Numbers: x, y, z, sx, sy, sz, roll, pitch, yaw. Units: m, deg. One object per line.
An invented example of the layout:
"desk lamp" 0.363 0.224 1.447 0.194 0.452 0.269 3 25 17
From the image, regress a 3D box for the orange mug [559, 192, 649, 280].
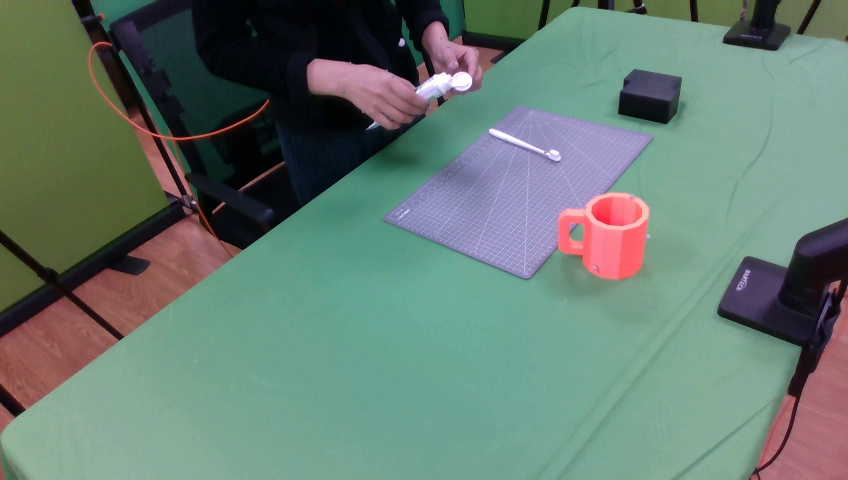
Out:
"orange mug" 0.261 -0.008 0.884 0.126 0.101 0.083 9 43 14

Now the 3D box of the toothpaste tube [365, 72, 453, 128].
"toothpaste tube" -0.024 -0.231 1.010 0.164 0.034 0.055 -26 3 19

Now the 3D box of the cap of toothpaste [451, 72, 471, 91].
"cap of toothpaste" 0.060 -0.265 1.001 0.037 0.011 0.037 -1 72 3

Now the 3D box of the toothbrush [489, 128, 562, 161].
"toothbrush" 0.191 -0.188 1.167 0.014 0.017 0.180 -44 48 -17
